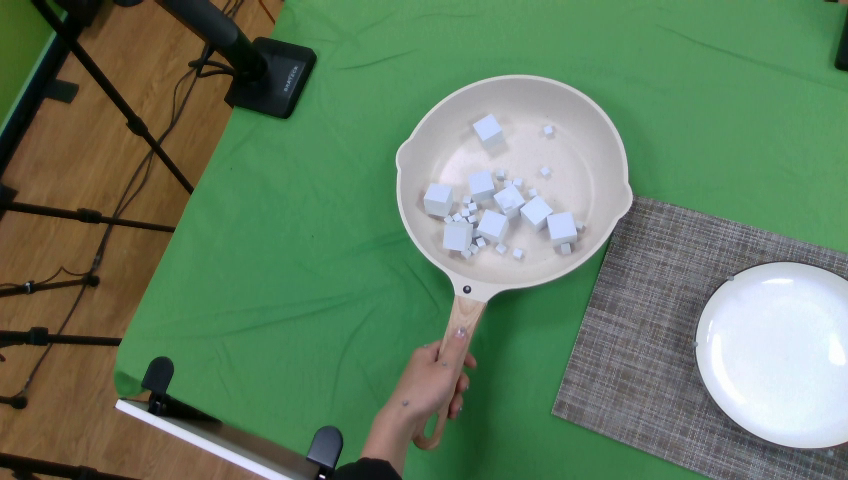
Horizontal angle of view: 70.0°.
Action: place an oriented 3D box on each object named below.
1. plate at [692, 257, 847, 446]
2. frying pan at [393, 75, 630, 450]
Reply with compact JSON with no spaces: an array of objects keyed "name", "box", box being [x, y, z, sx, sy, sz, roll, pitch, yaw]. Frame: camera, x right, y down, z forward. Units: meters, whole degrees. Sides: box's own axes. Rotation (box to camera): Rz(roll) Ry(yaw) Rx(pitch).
[{"name":"plate","box":[0.410,0.123,0.681,0.207,0.039,0.206,-4,73,12]},{"name":"frying pan","box":[0.074,0.018,0.756,0.305,0.103,0.485,15,69,17]}]
